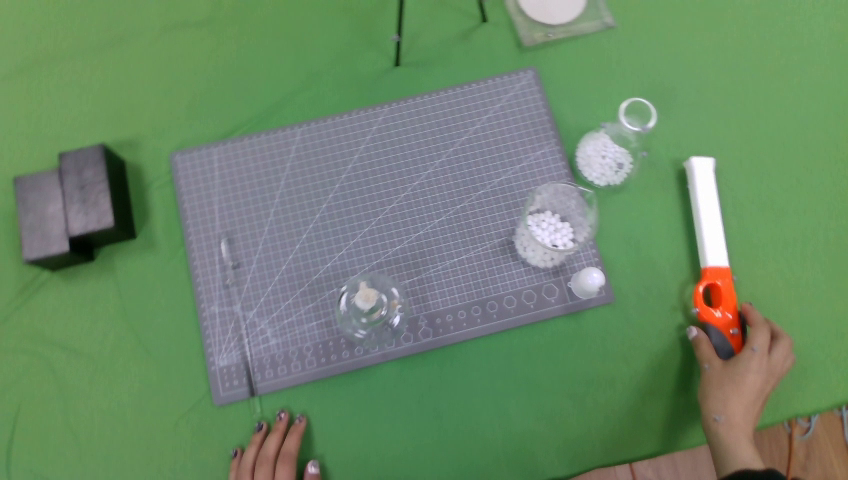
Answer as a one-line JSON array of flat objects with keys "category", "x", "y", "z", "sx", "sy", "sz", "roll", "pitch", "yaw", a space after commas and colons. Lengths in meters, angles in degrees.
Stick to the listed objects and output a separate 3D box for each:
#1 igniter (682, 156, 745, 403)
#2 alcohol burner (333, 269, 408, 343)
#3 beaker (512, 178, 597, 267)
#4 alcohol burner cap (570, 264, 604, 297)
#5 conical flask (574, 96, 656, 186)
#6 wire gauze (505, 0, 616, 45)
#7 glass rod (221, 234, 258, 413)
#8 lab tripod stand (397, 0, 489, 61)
[{"category": "igniter", "x": 0.319, "y": 0.038, "z": 0.671, "sx": 0.057, "sy": 0.025, "sz": 0.275, "roll": 1, "pitch": 76, "yaw": -11}, {"category": "alcohol burner", "x": -0.056, "y": 0.065, "z": 0.615, "sx": 0.078, "sy": 0.119, "sz": 0.077, "roll": 0, "pitch": 76, "yaw": 2}, {"category": "beaker", "x": 0.136, "y": -0.016, "z": 0.643, "sx": 0.084, "sy": 0.100, "sz": 0.073, "roll": -37, "pitch": 79, "yaw": -9}, {"category": "alcohol burner cap", "x": 0.179, "y": 0.041, "z": 0.659, "sx": 0.034, "sy": 0.048, "sz": 0.033, "roll": 0, "pitch": 76, "yaw": 0}, {"category": "conical flask", "x": 0.212, "y": -0.111, "z": 0.657, "sx": 0.075, "sy": 0.122, "sz": 0.075, "roll": 0, "pitch": 76, "yaw": 1}, {"category": "wire gauze", "x": 0.165, "y": -0.308, "z": 0.761, "sx": 0.125, "sy": 0.011, "sz": 0.121, "roll": -15, "pitch": 78, "yaw": -6}, {"category": "glass rod", "x": -0.202, "y": 0.089, "z": 0.662, "sx": 0.008, "sy": 0.008, "sz": 0.199, "roll": -13, "pitch": 80, "yaw": -4}, {"category": "lab tripod stand", "x": 0.007, "y": -0.293, "z": 0.693, "sx": 0.148, "sy": 0.132, "sz": 0.147, "roll": 0, "pitch": 78, "yaw": -1}]
